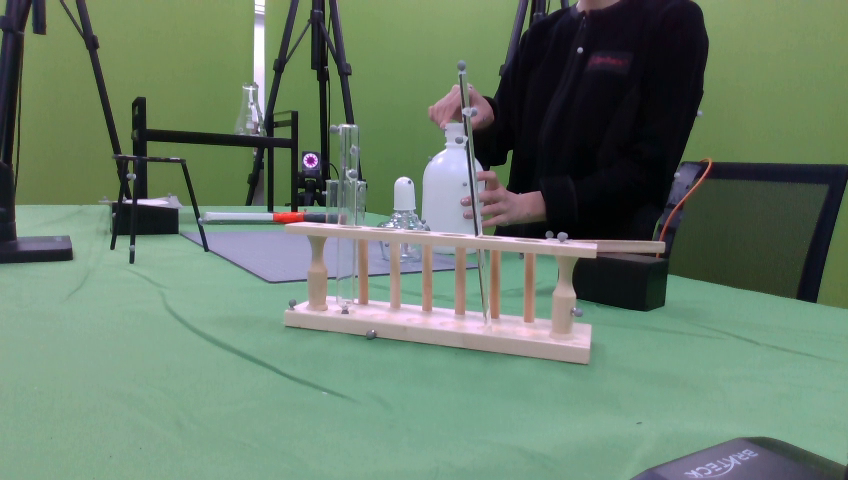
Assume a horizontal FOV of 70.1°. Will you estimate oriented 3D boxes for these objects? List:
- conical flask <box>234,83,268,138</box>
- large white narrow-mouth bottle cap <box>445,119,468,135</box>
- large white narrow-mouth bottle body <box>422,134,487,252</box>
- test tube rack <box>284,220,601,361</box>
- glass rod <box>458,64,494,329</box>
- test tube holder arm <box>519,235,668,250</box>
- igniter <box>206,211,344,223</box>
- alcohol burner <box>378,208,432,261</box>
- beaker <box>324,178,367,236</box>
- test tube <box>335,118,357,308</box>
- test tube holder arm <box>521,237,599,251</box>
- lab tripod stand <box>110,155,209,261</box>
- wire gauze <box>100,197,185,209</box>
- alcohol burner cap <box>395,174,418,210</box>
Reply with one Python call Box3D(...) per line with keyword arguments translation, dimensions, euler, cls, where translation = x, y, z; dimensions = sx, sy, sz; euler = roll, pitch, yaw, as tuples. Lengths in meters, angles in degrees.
Box3D(translation=(-0.400, -0.298, 1.396), dimensions=(0.075, 0.122, 0.075), euler=(2, 8, 0), cls="conical flask")
Box3D(translation=(0.051, -0.177, 0.949), dimensions=(0.038, 0.024, 0.037), euler=(2, 8, 0), cls="large white narrow-mouth bottle cap")
Box3D(translation=(0.050, -0.082, 0.962), dimensions=(0.102, 0.194, 0.102), euler=(2, 8, 0), cls="large white narrow-mouth bottle body")
Box3D(translation=(0.013, 0.032, 0.482), dimensions=(0.242, 0.085, 0.067), euler=(4, 7, 16), cls="test tube rack")
Box3D(translation=(0.039, -0.029, 0.450), dimensions=(0.008, 0.199, 0.008), euler=(-7, 9, 1), cls="glass rod")
Box3D(translation=(0.186, 0.004, 0.654), dimensions=(0.179, 0.015, 0.013), euler=(1, 13, -18), cls="test tube holder arm")
Box3D(translation=(-0.302, -0.048, 1.249), dimensions=(0.278, 0.025, 0.057), euler=(-2, -2, -27), cls="igniter")
Box3D(translation=(-0.027, -0.031, 0.838), dimensions=(0.078, 0.119, 0.078), euler=(0, 6, 0), cls="alcohol burner")
Box3D(translation=(-0.139, -0.060, 1.083), dimensions=(0.074, 0.100, 0.083), euler=(-3, 10, -31), cls="beaker")
Box3D(translation=(-0.061, -0.019, 0.476), dimensions=(0.017, 0.150, 0.017), euler=(2, 11, 0), cls="test tube")
Box3D(translation=(0.144, 0.004, 0.635), dimensions=(0.088, 0.015, 0.010), euler=(0, 13, -19), cls="test tube holder arm")
Box3D(translation=(-0.361, -0.046, 0.806), dimensions=(0.148, 0.131, 0.148), euler=(2, 5, 0), cls="lab tripod stand")
Box3D(translation=(-0.469, -0.062, 1.008), dimensions=(0.126, 0.011, 0.121), euler=(-2, 8, -25), cls="wire gauze")
Box3D(translation=(-0.026, -0.067, 0.833), dimensions=(0.034, 0.048, 0.034), euler=(-1, 12, 1), cls="alcohol burner cap")
